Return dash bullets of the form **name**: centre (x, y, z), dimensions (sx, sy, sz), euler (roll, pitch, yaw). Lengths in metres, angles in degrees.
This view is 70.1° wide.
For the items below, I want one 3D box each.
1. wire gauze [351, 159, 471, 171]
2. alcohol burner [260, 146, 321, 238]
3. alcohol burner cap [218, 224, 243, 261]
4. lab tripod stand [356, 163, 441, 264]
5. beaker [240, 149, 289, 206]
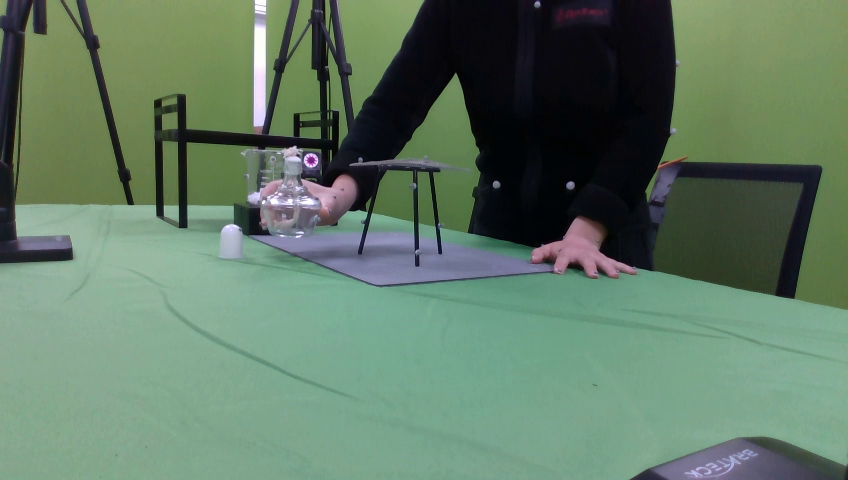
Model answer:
- **wire gauze**: centre (-0.019, -0.106, 0.847), dimensions (0.121, 0.011, 0.126), euler (8, 8, 42)
- **alcohol burner**: centre (-0.174, -0.063, 0.790), dimensions (0.078, 0.119, 0.078), euler (4, 12, -1)
- **alcohol burner cap**: centre (-0.263, 0.002, 0.824), dimensions (0.034, 0.048, 0.034), euler (4, 10, 0)
- **lab tripod stand**: centre (-0.023, -0.041, 0.858), dimensions (0.148, 0.131, 0.148), euler (3, 6, 0)
- **beaker**: centre (-0.286, -0.112, 1.086), dimensions (0.084, 0.100, 0.073), euler (-2, 9, -23)
